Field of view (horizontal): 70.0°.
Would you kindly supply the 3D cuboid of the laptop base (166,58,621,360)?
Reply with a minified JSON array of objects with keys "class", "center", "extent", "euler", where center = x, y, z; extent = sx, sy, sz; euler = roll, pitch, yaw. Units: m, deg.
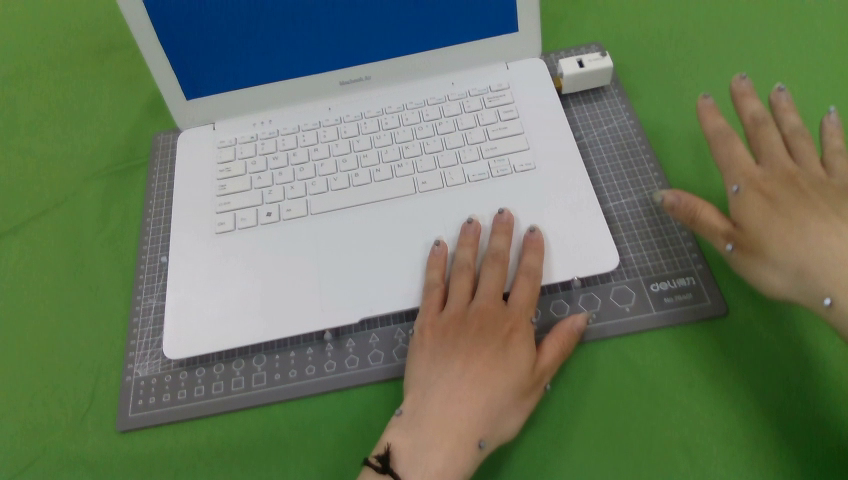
[{"class":"laptop base","center":[-0.040,-0.037,0.518],"extent":[0.354,0.023,0.233],"euler":[-12,60,1]}]

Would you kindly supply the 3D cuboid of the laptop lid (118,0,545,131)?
[{"class":"laptop lid","center":[-0.078,-0.223,0.504],"extent":[0.357,0.244,0.013],"euler":[-13,39,2]}]

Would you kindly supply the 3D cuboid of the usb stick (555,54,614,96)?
[{"class":"usb stick","center":[0.139,-0.148,0.546],"extent":[0.059,0.027,0.021],"euler":[-11,58,4]}]
